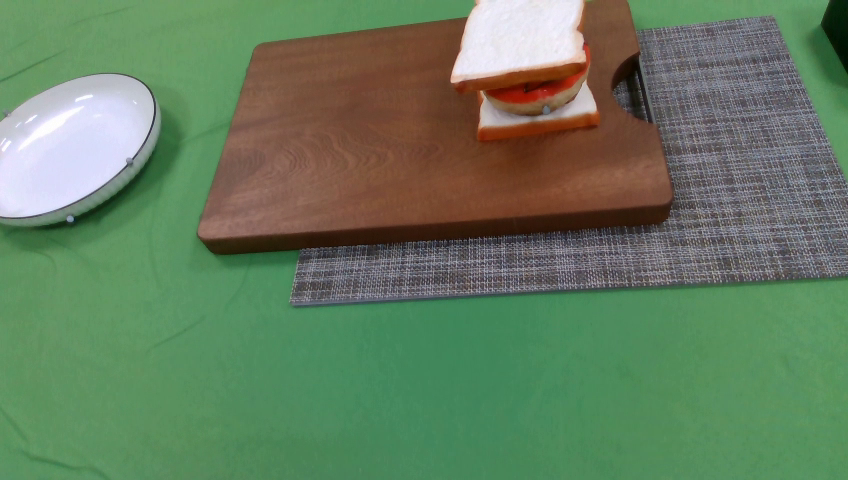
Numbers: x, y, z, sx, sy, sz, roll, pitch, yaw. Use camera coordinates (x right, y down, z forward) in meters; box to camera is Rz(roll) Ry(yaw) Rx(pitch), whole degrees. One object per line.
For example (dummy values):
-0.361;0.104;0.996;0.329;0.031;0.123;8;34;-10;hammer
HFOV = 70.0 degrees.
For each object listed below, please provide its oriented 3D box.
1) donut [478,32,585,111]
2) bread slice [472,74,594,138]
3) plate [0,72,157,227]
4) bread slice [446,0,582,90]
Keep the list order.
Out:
0.089;-0.154;0.525;0.099;0.049;0.098;-6;55;10;donut
0.092;-0.151;0.559;0.105;0.019;0.130;-7;56;6;bread slice
-0.377;-0.095;0.641;0.209;0.038;0.207;-6;55;8;plate
0.077;-0.179;0.509;0.106;0.018;0.133;-6;52;19;bread slice
